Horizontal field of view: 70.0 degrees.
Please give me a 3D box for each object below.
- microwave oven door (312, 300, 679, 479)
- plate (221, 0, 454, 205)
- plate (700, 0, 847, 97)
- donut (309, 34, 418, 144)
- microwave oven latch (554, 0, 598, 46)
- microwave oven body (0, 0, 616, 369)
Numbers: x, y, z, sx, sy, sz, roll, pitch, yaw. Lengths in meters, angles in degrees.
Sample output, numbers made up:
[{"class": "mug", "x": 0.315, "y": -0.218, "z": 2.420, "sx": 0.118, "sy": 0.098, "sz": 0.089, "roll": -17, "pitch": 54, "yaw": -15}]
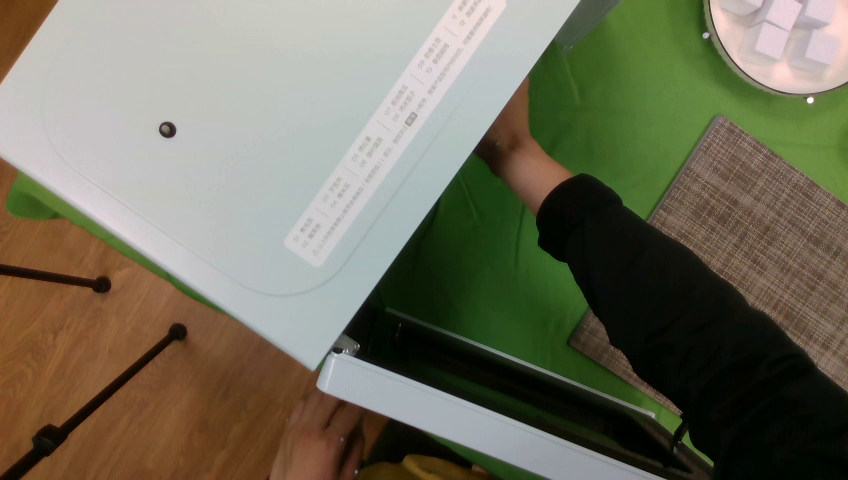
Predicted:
[{"class": "microwave oven door", "x": 0.086, "y": 0.146, "z": 0.538, "sx": 0.356, "sy": 0.243, "sz": 0.039, "roll": 22, "pitch": 91, "yaw": -4}, {"class": "plate", "x": -0.077, "y": -0.137, "z": 0.557, "sx": 0.209, "sy": 0.038, "sz": 0.209, "roll": 0, "pitch": 95, "yaw": -4}, {"class": "plate", "x": 0.393, "y": -0.256, "z": 0.647, "sx": 0.208, "sy": 0.039, "sz": 0.207, "roll": 0, "pitch": 94, "yaw": -3}, {"class": "donut", "x": -0.055, "y": -0.136, "z": 0.551, "sx": 0.099, "sy": 0.048, "sz": 0.099, "roll": 0, "pitch": 97, "yaw": 3}, {"class": "microwave oven latch", "x": 0.155, "y": -0.238, "z": 0.615, "sx": 0.030, "sy": 0.029, "sz": 0.079, "roll": 40, "pitch": 92, "yaw": -5}, {"class": "microwave oven body", "x": -0.064, "y": -0.175, "z": 0.511, "sx": 0.327, "sy": 0.259, "sz": 0.441, "roll": 36, "pitch": 92, "yaw": -5}]
